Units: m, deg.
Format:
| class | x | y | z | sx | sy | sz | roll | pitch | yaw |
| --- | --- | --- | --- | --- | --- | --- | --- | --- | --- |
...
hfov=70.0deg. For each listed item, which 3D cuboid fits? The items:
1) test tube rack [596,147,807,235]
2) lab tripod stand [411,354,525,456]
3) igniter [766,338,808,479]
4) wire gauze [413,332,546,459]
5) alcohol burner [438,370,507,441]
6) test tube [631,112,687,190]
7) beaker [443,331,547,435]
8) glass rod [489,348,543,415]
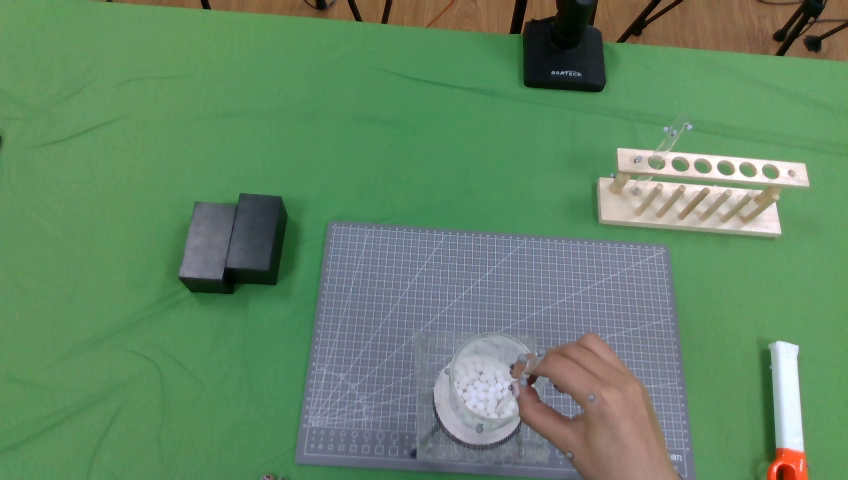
| class | x | y | z | sx | sy | sz | roll | pitch | yaw |
| --- | --- | --- | --- | --- | --- | --- | --- | --- | --- |
| test tube rack | 0.359 | -0.063 | 0.793 | 0.242 | 0.086 | 0.066 | 4 | 65 | -1 |
| lab tripod stand | 0.048 | 0.176 | 0.639 | 0.148 | 0.132 | 0.147 | 1 | 65 | -1 |
| igniter | 0.416 | 0.248 | 0.691 | 0.057 | 0.025 | 0.274 | 15 | 66 | -8 |
| wire gauze | 0.051 | 0.146 | 0.580 | 0.125 | 0.011 | 0.120 | 1 | 64 | -1 |
| alcohol burner | 0.054 | 0.174 | 0.651 | 0.078 | 0.120 | 0.077 | 2 | 64 | -4 |
| test tube | 0.289 | -0.106 | 0.755 | 0.017 | 0.151 | 0.017 | 1 | 62 | -2 |
| beaker | 0.057 | 0.130 | 0.535 | 0.084 | 0.101 | 0.073 | 0 | 65 | -3 |
| glass rod | 0.069 | 0.117 | 0.482 | 0.008 | 0.201 | 0.008 | 2 | 63 | -3 |
